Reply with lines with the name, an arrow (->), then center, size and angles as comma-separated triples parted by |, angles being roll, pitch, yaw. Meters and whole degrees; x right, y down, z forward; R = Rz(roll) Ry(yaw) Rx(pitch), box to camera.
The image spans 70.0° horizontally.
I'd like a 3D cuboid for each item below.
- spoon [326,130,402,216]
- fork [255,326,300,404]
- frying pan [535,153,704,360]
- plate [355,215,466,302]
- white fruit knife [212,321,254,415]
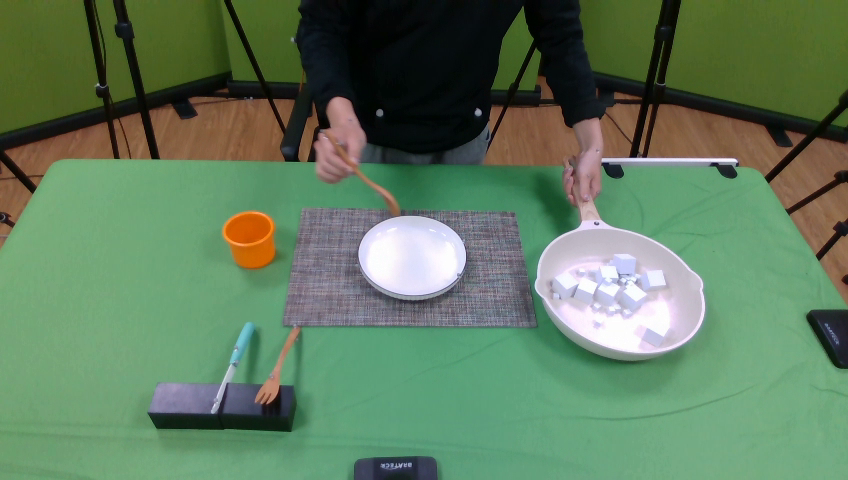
spoon -> -0.095, -0.106, 0.984 | 0.021, 0.195, 0.041 | -49, 34, -5
fork -> -0.226, 0.192, 0.955 | 0.028, 0.019, 0.206 | -1, 27, 4
frying pan -> 0.335, 0.013, 1.154 | 0.307, 0.103, 0.484 | -1, 54, -7
plate -> -0.025, 0.038, 1.144 | 0.208, 0.039, 0.206 | 3, 46, -2
white fruit knife -> -0.298, 0.193, 0.947 | 0.016, 0.027, 0.206 | 1, 31, 0
